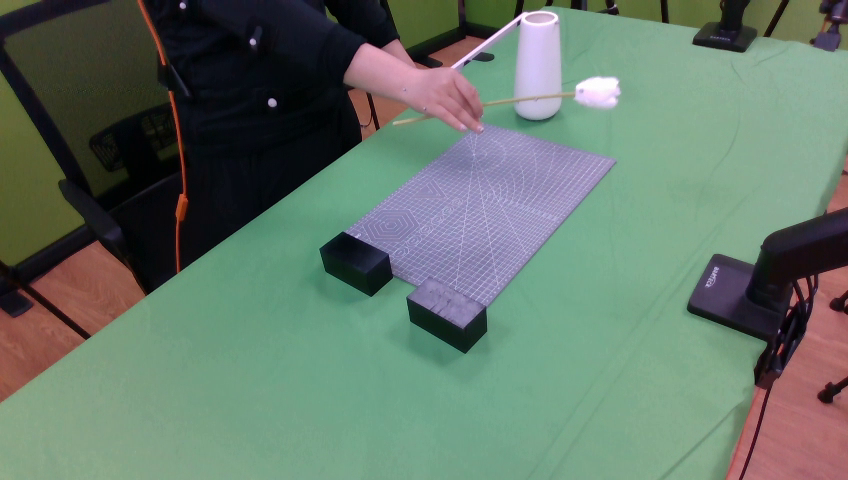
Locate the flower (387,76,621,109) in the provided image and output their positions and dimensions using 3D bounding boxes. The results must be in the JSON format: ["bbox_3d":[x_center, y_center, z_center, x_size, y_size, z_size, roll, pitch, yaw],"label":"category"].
[{"bbox_3d":[0.107,-0.211,0.911,0.360,0.044,0.038,2,-4,23],"label":"flower"}]

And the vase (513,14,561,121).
[{"bbox_3d":[0.225,-0.336,1.196,0.098,0.201,0.097,-5,42,5],"label":"vase"}]
